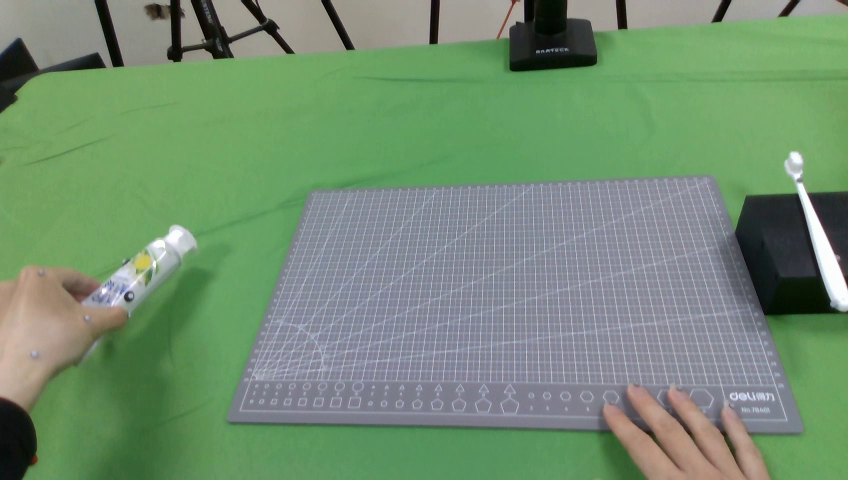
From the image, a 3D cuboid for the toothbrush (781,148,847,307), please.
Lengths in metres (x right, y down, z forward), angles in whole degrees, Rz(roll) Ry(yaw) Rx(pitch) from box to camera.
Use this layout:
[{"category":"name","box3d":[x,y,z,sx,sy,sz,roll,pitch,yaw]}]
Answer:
[{"category":"toothbrush","box3d":[0.328,-0.018,0.510,0.014,0.017,0.180,5,47,10]}]

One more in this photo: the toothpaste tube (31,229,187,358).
[{"category":"toothpaste tube","box3d":[-0.285,0.042,0.572,0.055,0.035,0.164,12,42,20]}]

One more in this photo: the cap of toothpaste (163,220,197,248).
[{"category":"cap of toothpaste","box3d":[-0.253,-0.005,0.626,0.037,0.038,0.011,11,42,20]}]
